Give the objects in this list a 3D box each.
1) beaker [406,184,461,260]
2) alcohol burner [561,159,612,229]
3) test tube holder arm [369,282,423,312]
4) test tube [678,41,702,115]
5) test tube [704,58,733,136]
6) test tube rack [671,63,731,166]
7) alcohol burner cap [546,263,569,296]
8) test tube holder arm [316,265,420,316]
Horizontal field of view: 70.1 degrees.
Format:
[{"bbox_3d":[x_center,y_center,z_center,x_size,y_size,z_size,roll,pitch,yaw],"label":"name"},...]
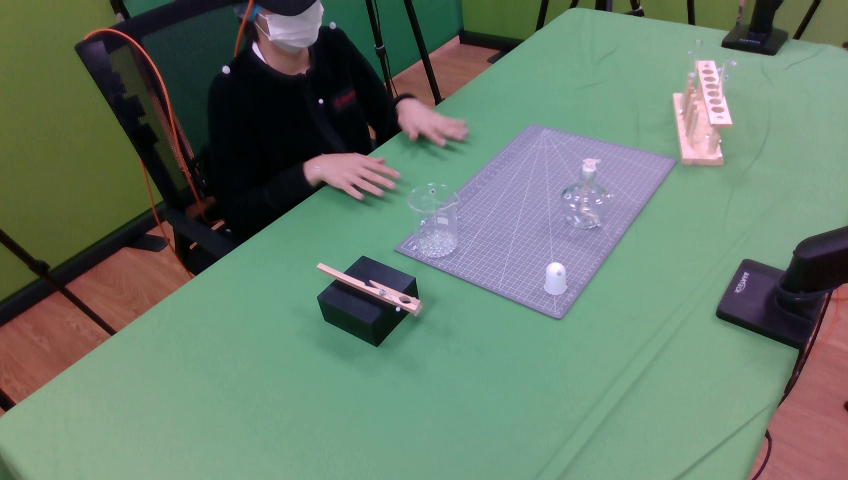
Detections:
[{"bbox_3d":[0.019,-0.026,0.939,0.084,0.101,0.074,1,41,10],"label":"beaker"},{"bbox_3d":[0.257,-0.077,0.951,0.078,0.119,0.077,-3,40,3],"label":"alcohol burner"},{"bbox_3d":[-0.040,0.076,0.817,0.087,0.015,0.010,18,56,28],"label":"test tube holder arm"},{"bbox_3d":[0.500,-0.303,1.138,0.017,0.151,0.017,-4,42,4],"label":"test tube"},{"bbox_3d":[0.516,-0.247,1.062,0.017,0.151,0.017,-3,43,4],"label":"test tube"},{"bbox_3d":[0.513,-0.240,1.132,0.066,0.085,0.242,4,41,14],"label":"test tube rack"},{"bbox_3d":[0.191,0.053,0.862,0.034,0.048,0.033,-5,40,4],"label":"alcohol burner cap"},{"bbox_3d":[-0.081,0.068,0.836,0.177,0.015,0.013,18,55,28],"label":"test tube holder arm"}]
